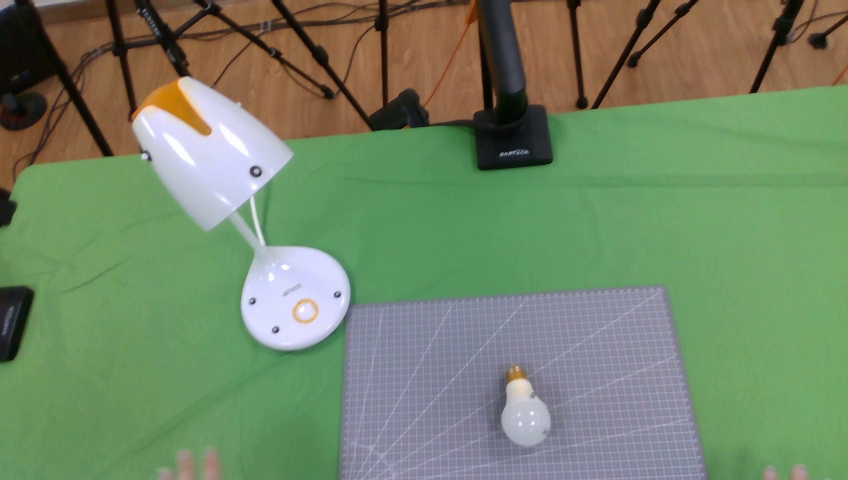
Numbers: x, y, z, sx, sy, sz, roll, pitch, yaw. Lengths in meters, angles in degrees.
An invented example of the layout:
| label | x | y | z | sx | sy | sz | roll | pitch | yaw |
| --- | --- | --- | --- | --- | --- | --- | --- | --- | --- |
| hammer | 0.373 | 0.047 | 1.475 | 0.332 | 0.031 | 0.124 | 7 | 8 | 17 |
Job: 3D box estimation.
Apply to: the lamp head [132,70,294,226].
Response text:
| label | x | y | z | sx | sy | sz | roll | pitch | yaw |
| --- | --- | --- | --- | --- | --- | --- | --- | --- | --- |
| lamp head | -0.200 | -0.091 | 0.553 | 0.123 | 0.112 | 0.112 | 47 | 73 | -14 |

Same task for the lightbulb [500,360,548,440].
| label | x | y | z | sx | sy | sz | roll | pitch | yaw |
| --- | --- | --- | --- | --- | --- | --- | --- | --- | --- |
| lightbulb | 0.121 | 0.199 | 0.765 | 0.059 | 0.060 | 0.106 | -10 | 47 | 3 |

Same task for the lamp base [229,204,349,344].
| label | x | y | z | sx | sy | sz | roll | pitch | yaw |
| --- | --- | --- | --- | --- | --- | --- | --- | --- | --- |
| lamp base | -0.207 | 0.032 | 0.821 | 0.160 | 0.182 | 0.177 | -41 | 62 | -14 |
